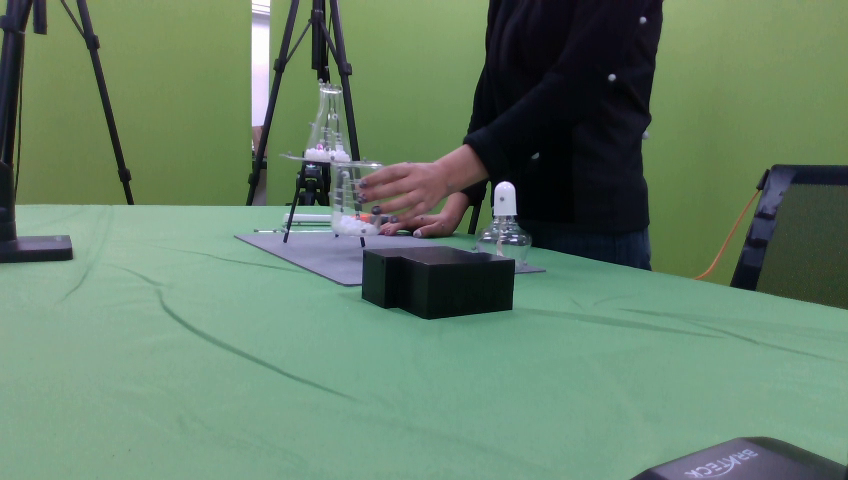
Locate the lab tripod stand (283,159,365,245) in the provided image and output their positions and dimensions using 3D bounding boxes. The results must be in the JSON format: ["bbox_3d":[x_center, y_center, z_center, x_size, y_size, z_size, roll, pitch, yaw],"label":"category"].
[{"bbox_3d":[-0.151,-0.063,0.983,0.148,0.131,0.148,4,7,0],"label":"lab tripod stand"}]

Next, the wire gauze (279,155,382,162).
[{"bbox_3d":[-0.149,-0.128,0.974,0.124,0.011,0.122,6,6,41],"label":"wire gauze"}]

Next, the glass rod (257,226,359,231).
[{"bbox_3d":[-0.216,-0.022,1.151,0.201,0.008,0.008,-2,8,-28],"label":"glass rod"}]

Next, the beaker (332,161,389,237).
[{"bbox_3d":[-0.093,-0.058,0.842,0.083,0.100,0.074,8,10,28],"label":"beaker"}]

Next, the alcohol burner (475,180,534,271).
[{"bbox_3d":[0.108,-0.020,0.803,0.078,0.119,0.078,3,5,0],"label":"alcohol burner"}]

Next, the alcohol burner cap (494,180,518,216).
[{"bbox_3d":[0.108,-0.055,0.800,0.034,0.048,0.034,-1,4,0],"label":"alcohol burner cap"}]

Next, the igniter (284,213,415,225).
[{"bbox_3d":[-0.154,-0.045,1.282,0.278,0.025,0.057,0,-2,-20],"label":"igniter"}]

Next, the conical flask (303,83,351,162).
[{"bbox_3d":[-0.152,-0.186,0.963,0.075,0.122,0.075,4,6,0],"label":"conical flask"}]
